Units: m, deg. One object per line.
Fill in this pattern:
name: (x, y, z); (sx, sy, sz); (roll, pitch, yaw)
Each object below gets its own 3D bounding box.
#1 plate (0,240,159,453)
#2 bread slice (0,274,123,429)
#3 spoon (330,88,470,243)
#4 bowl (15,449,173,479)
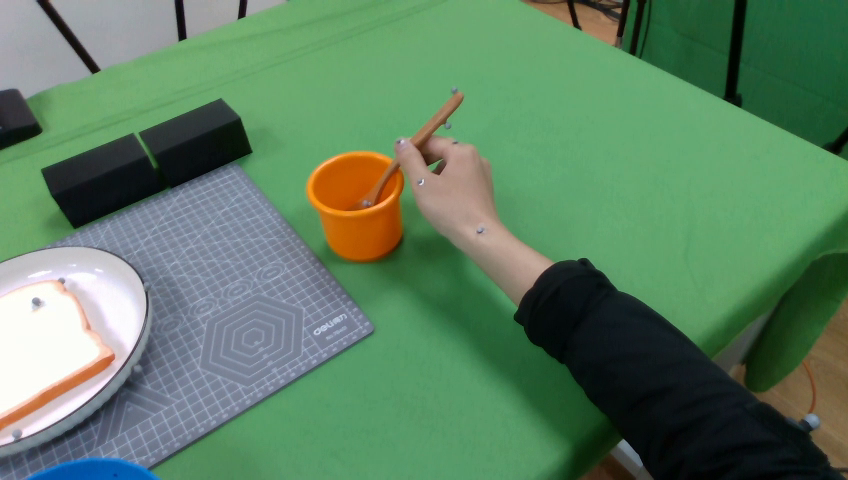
plate: (-0.331, 0.087, 0.518); (0.209, 0.038, 0.207); (-2, 48, 2)
bread slice: (-0.337, 0.088, 0.522); (0.107, 0.018, 0.133); (-36, 56, -25)
spoon: (-0.025, -0.067, 0.569); (0.022, 0.194, 0.041); (18, 33, -45)
bowl: (-0.205, 0.215, 0.368); (0.151, 0.077, 0.150); (-2, 47, 2)
